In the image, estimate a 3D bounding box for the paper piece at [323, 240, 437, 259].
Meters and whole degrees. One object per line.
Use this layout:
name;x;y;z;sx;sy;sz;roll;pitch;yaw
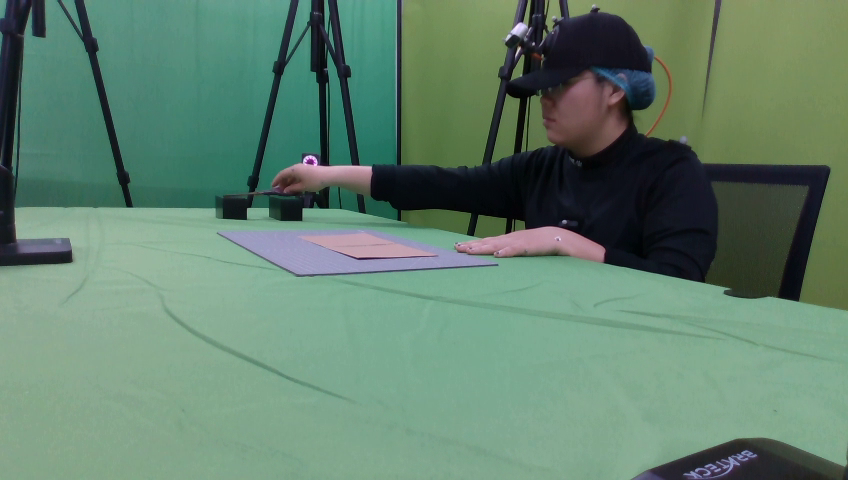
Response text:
paper piece;-0.070;0.015;0.932;0.137;0.008;0.137;-5;11;-30

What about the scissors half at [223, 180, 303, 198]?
scissors half;-0.363;-0.118;1.369;0.176;0.040;0.013;1;8;-15

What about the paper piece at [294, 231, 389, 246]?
paper piece;-0.138;-0.002;1.045;0.136;0.004;0.134;-3;10;-30

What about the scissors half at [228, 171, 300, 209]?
scissors half;-0.362;-0.109;1.371;0.175;0.040;0.012;-24;19;-7
